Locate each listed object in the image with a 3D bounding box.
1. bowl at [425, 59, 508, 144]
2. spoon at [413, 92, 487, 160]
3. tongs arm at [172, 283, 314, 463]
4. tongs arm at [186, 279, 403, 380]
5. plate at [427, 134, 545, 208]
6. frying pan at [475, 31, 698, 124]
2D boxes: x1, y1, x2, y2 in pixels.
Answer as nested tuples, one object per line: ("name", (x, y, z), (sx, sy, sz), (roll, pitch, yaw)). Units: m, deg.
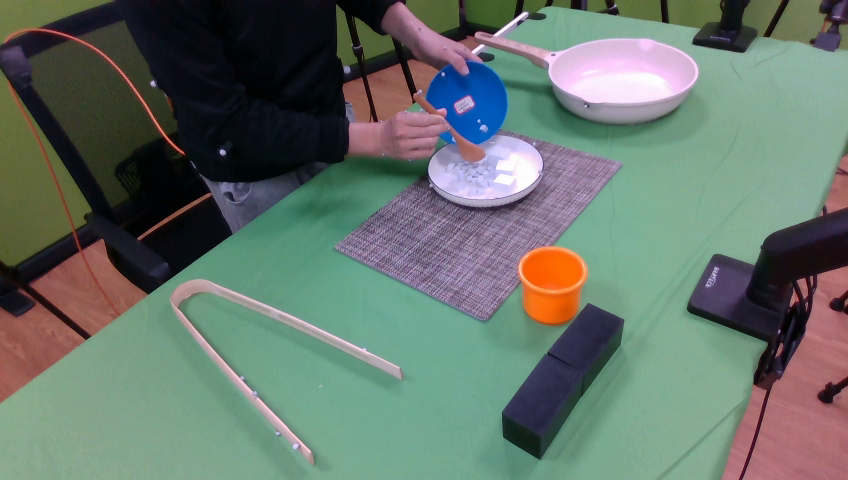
("bowl", (0.077, -0.252, 1.112), (0.151, 0.151, 0.077), (-4, 13, 4))
("spoon", (0.042, -0.183, 0.991), (0.041, 0.195, 0.021), (-23, 48, 31))
("tongs arm", (-0.246, 0.161, 0.806), (0.381, 0.026, 0.051), (29, 51, 36))
("tongs arm", (-0.193, 0.120, 0.853), (0.385, 0.028, 0.028), (17, 49, 27))
("plate", (0.110, -0.119, 1.073), (0.207, 0.039, 0.206), (-4, 41, 4))
("frying pan", (0.320, -0.371, 1.290), (0.485, 0.103, 0.307), (28, 50, 23))
